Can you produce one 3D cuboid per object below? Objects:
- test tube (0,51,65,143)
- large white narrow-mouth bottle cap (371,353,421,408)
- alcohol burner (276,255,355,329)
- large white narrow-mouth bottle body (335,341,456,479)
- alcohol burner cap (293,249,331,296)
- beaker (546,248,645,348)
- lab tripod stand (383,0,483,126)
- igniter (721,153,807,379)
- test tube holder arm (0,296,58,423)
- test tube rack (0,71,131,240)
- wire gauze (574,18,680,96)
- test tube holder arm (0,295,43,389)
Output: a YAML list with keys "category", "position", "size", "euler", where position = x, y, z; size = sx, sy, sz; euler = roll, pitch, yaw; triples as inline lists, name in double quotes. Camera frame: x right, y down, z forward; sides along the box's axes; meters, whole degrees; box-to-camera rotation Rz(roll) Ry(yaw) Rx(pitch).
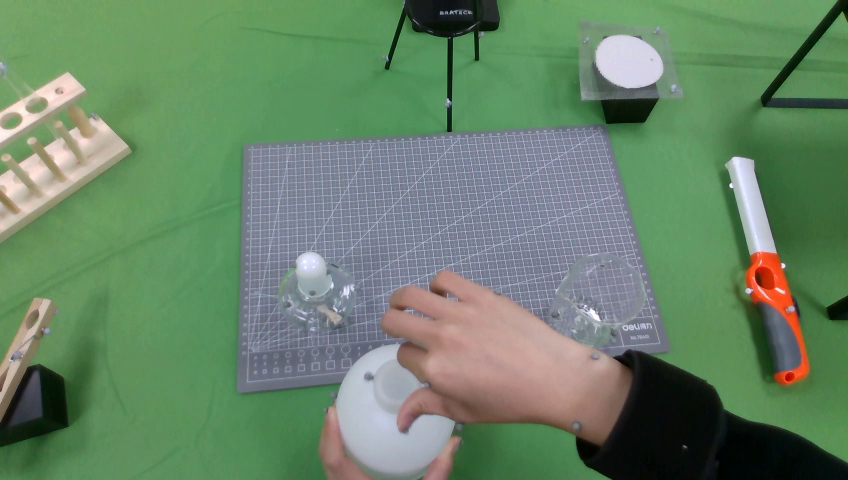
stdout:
- category: "test tube"
  position: [-0.412, -0.150, 0.630]
  size: [0.017, 0.151, 0.017]
  euler: [0, 62, 0]
- category: "large white narrow-mouth bottle cap"
  position: [-0.021, 0.101, 0.434]
  size: [0.038, 0.024, 0.037]
  euler: [1, 64, -3]
- category: "alcohol burner"
  position: [-0.107, 0.044, 0.594]
  size: [0.078, 0.120, 0.077]
  euler: [2, 62, -4]
- category: "large white narrow-mouth bottle body"
  position: [-0.024, 0.141, 0.511]
  size: [0.102, 0.196, 0.101]
  euler: [1, 64, -2]
- category: "alcohol burner cap"
  position: [-0.106, 0.028, 0.561]
  size: [0.034, 0.048, 0.033]
  euler: [0, 59, 0]
- category: "beaker"
  position: [0.164, 0.063, 0.609]
  size: [0.084, 0.101, 0.073]
  euler: [-3, 64, -4]
- category: "lab tripod stand"
  position: [0.020, -0.234, 0.728]
  size: [0.148, 0.132, 0.147]
  euler: [2, 65, -4]
- category: "igniter"
  position: [0.382, 0.021, 0.687]
  size: [0.057, 0.025, 0.274]
  euler: [6, 63, -12]
- category: "test tube holder arm"
  position: [-0.371, 0.134, 0.537]
  size: [0.013, 0.015, 0.177]
  euler: [8, 65, 7]
- category: "test tube rack"
  position: [-0.450, -0.068, 0.644]
  size: [0.066, 0.086, 0.242]
  euler: [41, 69, 15]
- category: "wire gauze"
  position: [0.249, -0.227, 0.754]
  size: [0.121, 0.011, 0.124]
  euler: [3, 64, -2]
- category: "test tube holder arm"
  position: [-0.370, 0.093, 0.557]
  size: [0.010, 0.015, 0.087]
  euler: [6, 64, 6]
